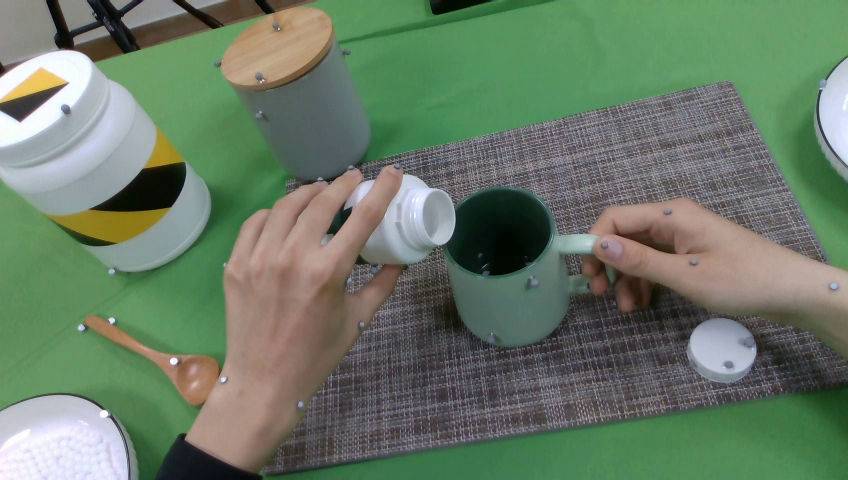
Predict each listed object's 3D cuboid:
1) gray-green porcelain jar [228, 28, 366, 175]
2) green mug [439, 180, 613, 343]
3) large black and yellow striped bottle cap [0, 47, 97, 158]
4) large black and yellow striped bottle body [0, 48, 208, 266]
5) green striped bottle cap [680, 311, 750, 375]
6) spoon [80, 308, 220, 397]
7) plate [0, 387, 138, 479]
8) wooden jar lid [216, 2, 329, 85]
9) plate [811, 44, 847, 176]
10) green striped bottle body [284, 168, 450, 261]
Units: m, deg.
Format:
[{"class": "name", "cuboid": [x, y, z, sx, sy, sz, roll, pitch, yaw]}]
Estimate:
[{"class": "gray-green porcelain jar", "cuboid": [-0.120, -0.136, 0.596, 0.106, 0.128, 0.105, -8, 52, 10]}, {"class": "green mug", "cuboid": [0.076, 0.016, 0.451, 0.125, 0.106, 0.091, -4, 55, 13]}, {"class": "large black and yellow striped bottle cap", "cuboid": [-0.328, -0.117, 0.503, 0.115, 0.019, 0.114, -7, 55, 10]}, {"class": "large black and yellow striped bottle body", "cuboid": [-0.307, -0.073, 0.572, 0.130, 0.186, 0.129, -7, 56, 11]}, {"class": "green striped bottle cap", "cuboid": [0.208, 0.073, 0.434, 0.044, 0.020, 0.044, -7, 50, 9]}, {"class": "spoon", "cuboid": [-0.252, 0.092, 0.547, 0.192, 0.022, 0.041, 18, 83, 24]}, {"class": "plate", "cuboid": [-0.315, 0.219, 0.470, 0.209, 0.038, 0.207, -7, 55, 11]}, {"class": "wooden jar lid", "cuboid": [-0.134, -0.174, 0.547, 0.108, 0.021, 0.107, -9, 54, 13]}, {"class": "plate", "cuboid": [0.420, -0.094, 0.476, 0.207, 0.039, 0.205, -7, 56, 11]}, {"class": "green striped bottle body", "cuboid": [-0.039, -0.017, 0.439, 0.118, 0.064, 0.063, -3, 54, 37]}]
